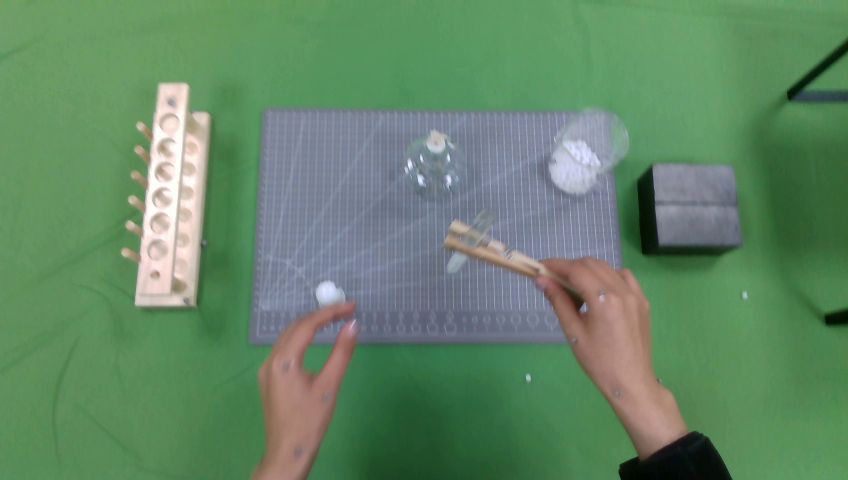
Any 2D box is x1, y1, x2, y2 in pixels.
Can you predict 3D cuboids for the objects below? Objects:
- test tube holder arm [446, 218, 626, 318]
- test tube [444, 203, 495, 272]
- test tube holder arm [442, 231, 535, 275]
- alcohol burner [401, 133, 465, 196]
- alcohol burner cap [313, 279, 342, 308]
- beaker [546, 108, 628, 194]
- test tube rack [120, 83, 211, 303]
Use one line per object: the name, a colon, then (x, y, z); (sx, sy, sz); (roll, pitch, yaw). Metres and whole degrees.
test tube holder arm: (0.101, 0.026, 0.547); (0.178, 0.015, 0.013); (26, 70, -1)
test tube: (0.038, 0.002, 0.551); (0.017, 0.151, 0.017); (3, 70, -8)
test tube holder arm: (0.058, 0.012, 0.544); (0.088, 0.015, 0.010); (19, 70, -4)
alcohol burner: (0.011, -0.096, 0.711); (0.078, 0.119, 0.077); (0, 76, 0)
alcohol burner cap: (-0.114, 0.060, 0.703); (0.034, 0.048, 0.033); (1, 76, -3)
beaker: (0.188, -0.102, 0.728); (0.084, 0.100, 0.073); (-1, 75, -1)
test tube rack: (-0.303, -0.053, 0.703); (0.067, 0.085, 0.241); (0, 76, -2)
